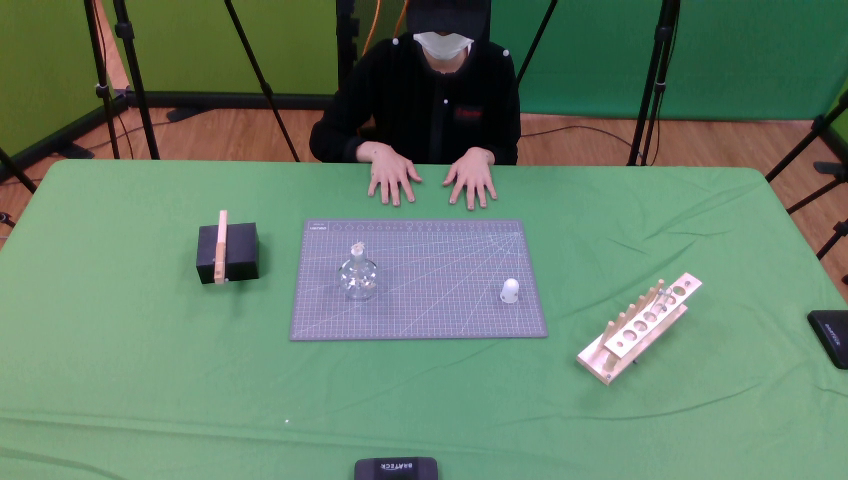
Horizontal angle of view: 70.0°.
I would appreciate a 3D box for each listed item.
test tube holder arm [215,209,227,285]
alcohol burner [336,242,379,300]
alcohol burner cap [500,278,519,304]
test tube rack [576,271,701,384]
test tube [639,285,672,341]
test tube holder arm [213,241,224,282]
[{"bbox_3d":[-0.367,0.008,1.095,0.015,0.013,0.177,-6,48,-9],"label":"test tube holder arm"},{"bbox_3d":[-0.118,0.050,1.072,0.078,0.120,0.077,2,44,-1],"label":"alcohol burner"},{"bbox_3d":[0.157,0.090,1.104,0.034,0.048,0.033,2,46,-2],"label":"alcohol burner cap"},{"bbox_3d":[0.373,0.138,1.047,0.242,0.085,0.066,-31,56,-29],"label":"test tube rack"},{"bbox_3d":[0.374,0.123,0.994,0.017,0.151,0.017,1,50,-1],"label":"test tube"},{"bbox_3d":[-0.359,0.037,1.061,0.015,0.010,0.087,-6,47,-9],"label":"test tube holder arm"}]
